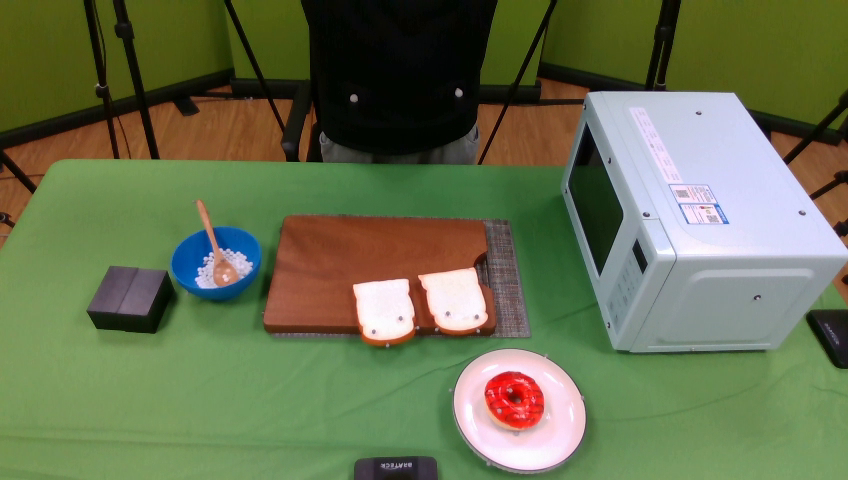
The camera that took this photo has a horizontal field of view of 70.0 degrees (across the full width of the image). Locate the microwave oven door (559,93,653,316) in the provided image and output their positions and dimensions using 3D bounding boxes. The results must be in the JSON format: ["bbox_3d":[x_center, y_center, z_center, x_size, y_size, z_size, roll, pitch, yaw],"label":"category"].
[{"bbox_3d":[0.327,-0.074,1.123,0.039,0.245,0.353,0,46,-5],"label":"microwave oven door"}]

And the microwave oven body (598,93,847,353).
[{"bbox_3d":[0.475,-0.041,1.110,0.326,0.261,0.438,-1,45,-4],"label":"microwave oven body"}]

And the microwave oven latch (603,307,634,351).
[{"bbox_3d":[0.332,0.153,1.044,0.030,0.029,0.078,0,45,-3],"label":"microwave oven latch"}]

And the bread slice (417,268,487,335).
[{"bbox_3d":[0.055,0.107,1.063,0.107,0.018,0.133,-9,48,-12],"label":"bread slice"}]

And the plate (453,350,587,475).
[{"bbox_3d":[0.146,0.267,0.943,0.208,0.039,0.206,2,46,-2],"label":"plate"}]

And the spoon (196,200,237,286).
[{"bbox_3d":[-0.377,0.003,1.086,0.042,0.022,0.193,-16,67,-22],"label":"spoon"}]

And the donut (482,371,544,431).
[{"bbox_3d":[0.139,0.250,0.942,0.099,0.048,0.098,5,45,-5],"label":"donut"}]

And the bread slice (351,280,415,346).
[{"bbox_3d":[-0.067,0.123,1.041,0.105,0.019,0.130,-7,47,-9],"label":"bread slice"}]

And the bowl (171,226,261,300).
[{"bbox_3d":[-0.363,0.054,1.081,0.151,0.077,0.150,2,45,-2],"label":"bowl"}]
